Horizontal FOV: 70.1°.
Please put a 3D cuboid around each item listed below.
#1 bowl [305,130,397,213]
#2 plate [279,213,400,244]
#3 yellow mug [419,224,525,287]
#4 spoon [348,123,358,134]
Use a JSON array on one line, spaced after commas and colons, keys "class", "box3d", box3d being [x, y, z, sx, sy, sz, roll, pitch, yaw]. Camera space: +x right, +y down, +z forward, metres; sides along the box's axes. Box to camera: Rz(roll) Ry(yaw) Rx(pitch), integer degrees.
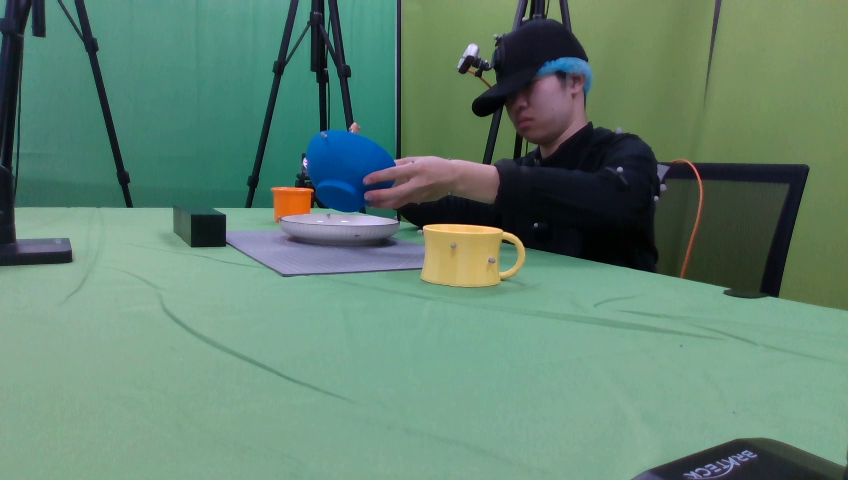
[{"class": "bowl", "box3d": [-0.125, -0.095, 0.955, 0.151, 0.077, 0.151, 13, -28, 7]}, {"class": "plate", "box3d": [-0.147, -0.020, 1.060, 0.209, 0.038, 0.209, 3, 7, 0]}, {"class": "yellow mug", "box3d": [0.060, 0.018, 0.746, 0.131, 0.064, 0.100, 2, 7, -7]}, {"class": "spoon", "box3d": [-0.134, -0.143, 1.038, 0.042, 0.021, 0.193, 25, 39, -20]}]
